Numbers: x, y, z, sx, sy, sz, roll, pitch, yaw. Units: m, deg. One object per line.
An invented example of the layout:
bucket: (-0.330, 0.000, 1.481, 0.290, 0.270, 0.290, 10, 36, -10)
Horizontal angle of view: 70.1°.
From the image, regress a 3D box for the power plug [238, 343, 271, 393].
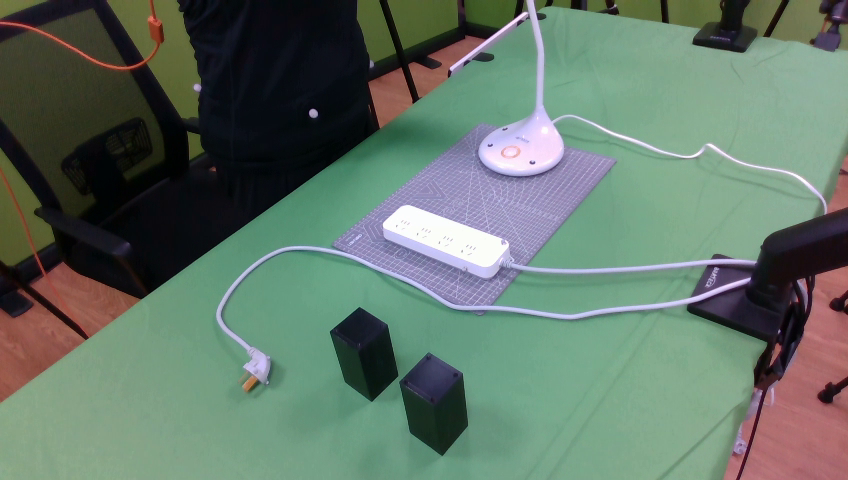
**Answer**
power plug: (-0.230, 0.172, 0.801, 0.072, 0.035, 0.053, 8, 50, 50)

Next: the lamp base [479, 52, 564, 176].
lamp base: (0.181, -0.235, 1.094, 0.159, 0.181, 0.179, 18, 44, 27)

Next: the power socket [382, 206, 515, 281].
power socket: (0.032, 0.002, 0.950, 0.225, 0.033, 0.072, 21, 49, 29)
